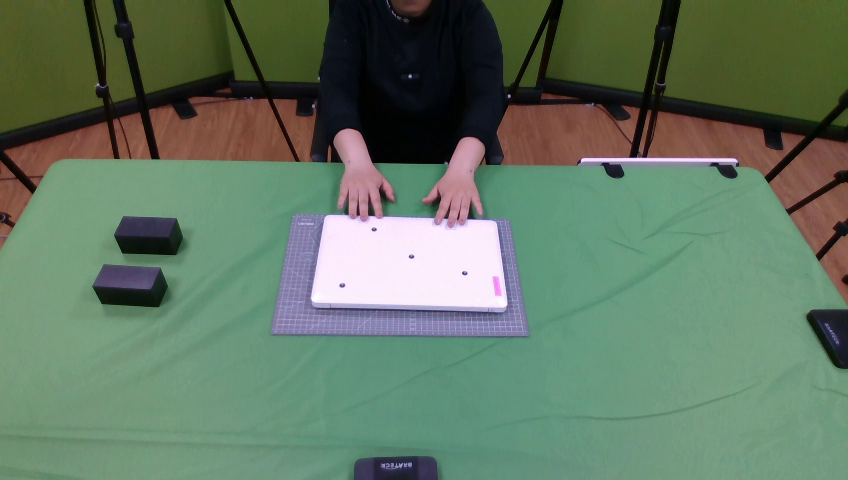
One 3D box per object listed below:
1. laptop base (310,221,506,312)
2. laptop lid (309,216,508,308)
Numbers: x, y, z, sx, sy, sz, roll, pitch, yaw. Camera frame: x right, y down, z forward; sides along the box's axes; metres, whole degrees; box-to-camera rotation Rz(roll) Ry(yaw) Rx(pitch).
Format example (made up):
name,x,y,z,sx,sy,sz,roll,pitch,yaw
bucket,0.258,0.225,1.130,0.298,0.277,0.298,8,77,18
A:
name,x,y,z,sx,sy,sz,roll,pitch,yaw
laptop base,-0.028,0.045,1.154,0.354,0.023,0.234,2,43,-3
laptop lid,-0.027,0.035,1.147,0.357,0.013,0.240,3,43,-1
